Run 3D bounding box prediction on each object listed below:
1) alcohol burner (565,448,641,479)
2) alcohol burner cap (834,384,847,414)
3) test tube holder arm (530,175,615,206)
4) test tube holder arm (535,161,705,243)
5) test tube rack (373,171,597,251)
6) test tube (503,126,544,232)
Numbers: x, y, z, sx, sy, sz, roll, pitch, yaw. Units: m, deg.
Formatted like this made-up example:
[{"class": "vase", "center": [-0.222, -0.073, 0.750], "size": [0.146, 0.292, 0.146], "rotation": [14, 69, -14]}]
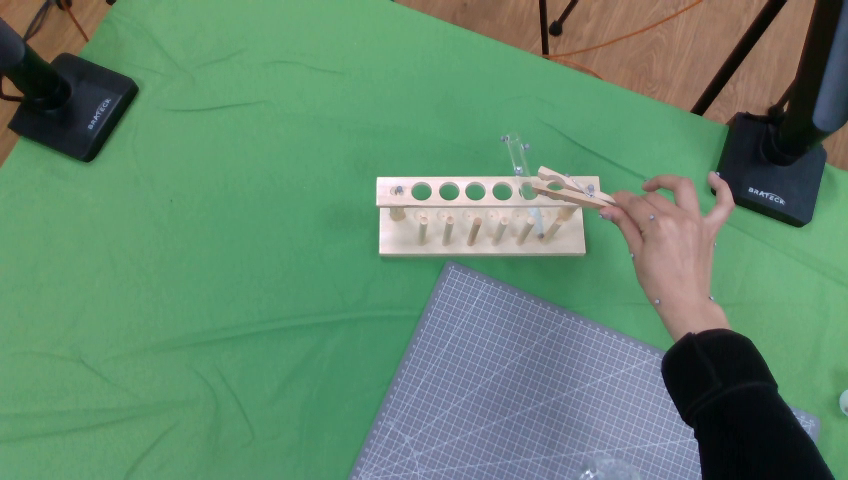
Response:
[{"class": "alcohol burner", "center": [0.180, 0.244, 0.589], "size": [0.078, 0.119, 0.077], "rotation": [1, 74, -2]}, {"class": "alcohol burner cap", "center": [0.476, 0.173, 0.659], "size": [0.034, 0.048, 0.033], "rotation": [0, 72, -1]}, {"class": "test tube holder arm", "center": [0.152, -0.050, 0.619], "size": [0.087, 0.015, 0.010], "rotation": [14, 77, 12]}, {"class": "test tube holder arm", "center": [0.194, -0.039, 0.610], "size": [0.177, 0.015, 0.013], "rotation": [25, 80, 14]}, {"class": "test tube rack", "center": [0.066, -0.031, 0.686], "size": [0.242, 0.085, 0.066], "rotation": [0, 72, -2]}, {"class": "test tube", "center": [0.109, -0.060, 0.650], "size": [0.017, 0.152, 0.017], "rotation": [-13, 45, 14]}]
